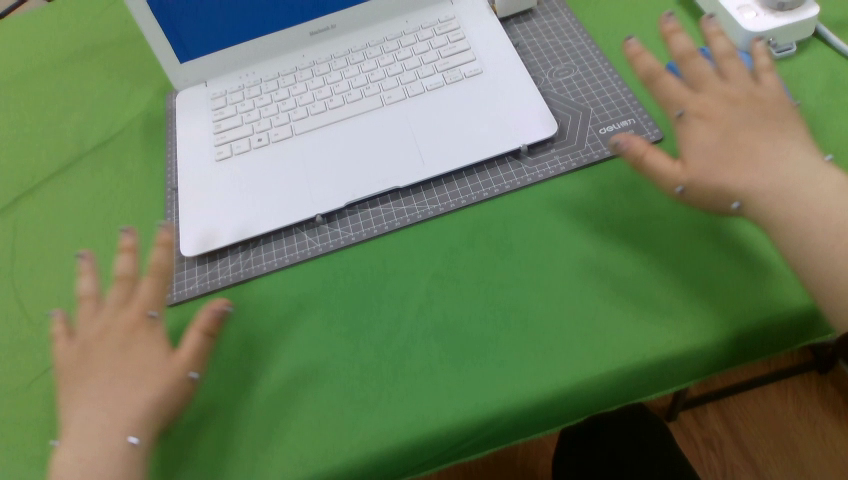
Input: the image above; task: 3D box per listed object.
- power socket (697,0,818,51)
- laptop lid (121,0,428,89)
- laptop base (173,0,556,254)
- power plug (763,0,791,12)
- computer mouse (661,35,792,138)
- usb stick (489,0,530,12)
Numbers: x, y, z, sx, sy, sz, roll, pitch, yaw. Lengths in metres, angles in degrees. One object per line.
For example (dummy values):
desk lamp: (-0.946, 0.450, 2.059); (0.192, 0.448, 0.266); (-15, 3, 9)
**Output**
power socket: (0.297, -0.268, 0.597); (0.072, 0.033, 0.224); (-16, 54, 3)
laptop lid: (-0.137, -0.302, 0.591); (0.357, 0.244, 0.013); (-20, 41, 1)
laptop base: (-0.076, -0.128, 0.600); (0.354, 0.023, 0.233); (-19, 57, 0)
power plug: (0.336, -0.230, 0.535); (0.072, 0.053, 0.035); (-7, 58, 8)
computer mouse: (0.253, -0.138, 0.514); (0.063, 0.041, 0.116); (-19, 49, 3)
usb stick: (0.083, -0.258, 0.635); (0.059, 0.027, 0.021); (-19, 53, 4)
